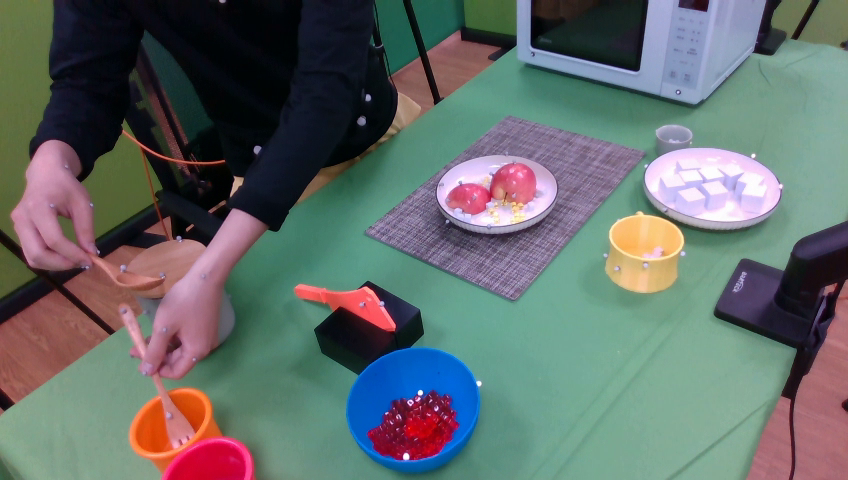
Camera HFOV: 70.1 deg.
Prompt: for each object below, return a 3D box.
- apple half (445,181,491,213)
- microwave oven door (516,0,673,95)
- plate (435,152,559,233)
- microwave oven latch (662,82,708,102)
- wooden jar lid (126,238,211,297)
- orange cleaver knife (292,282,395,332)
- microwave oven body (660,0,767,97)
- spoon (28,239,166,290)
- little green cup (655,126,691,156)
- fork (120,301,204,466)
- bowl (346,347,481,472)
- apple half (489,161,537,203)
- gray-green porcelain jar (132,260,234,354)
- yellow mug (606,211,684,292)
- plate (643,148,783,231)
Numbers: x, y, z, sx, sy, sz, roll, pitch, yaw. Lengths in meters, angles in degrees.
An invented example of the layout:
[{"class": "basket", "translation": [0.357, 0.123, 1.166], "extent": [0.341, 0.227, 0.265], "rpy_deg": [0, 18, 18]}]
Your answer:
[{"class": "apple half", "translation": [0.077, -0.083, 1.029], "extent": [0.081, 0.033, 0.081], "rpy_deg": [-2, 41, 2]}, {"class": "microwave oven door", "translation": [0.344, -0.458, 1.256], "extent": [0.353, 0.245, 0.039], "rpy_deg": [26, 51, 33]}, {"class": "plate", "translation": [0.123, -0.078, 1.026], "extent": [0.209, 0.038, 0.208], "rpy_deg": [-4, 40, 4]}, {"class": "microwave oven latch", "translation": [0.517, -0.298, 1.203], "extent": [0.078, 0.029, 0.030], "rpy_deg": [26, 52, 34]}, {"class": "wooden jar lid", "translation": [-0.334, 0.038, 0.794], "extent": [0.108, 0.021, 0.108], "rpy_deg": [-2, 40, 2]}, {"class": "orange cleaver knife", "translation": [-0.115, 0.091, 0.835], "extent": [0.209, 0.077, 0.012], "rpy_deg": [2, 32, 48]}, {"class": "microwave oven body", "translation": [0.474, -0.517, 1.313], "extent": [0.438, 0.261, 0.327], "rpy_deg": [26, 51, 34]}, {"class": "spoon", "translation": [-0.365, 0.023, 0.667], "extent": [0.193, 0.021, 0.042], "rpy_deg": [18, 15, 19]}, {"class": "little green cup", "translation": [0.450, -0.177, 1.100], "extent": [0.061, 0.039, 0.061], "rpy_deg": [-6, 40, 5]}, {"class": "fork", "translation": [-0.308, 0.165, 0.705], "extent": [0.028, 0.018, 0.207], "rpy_deg": [-26, 89, -13]}, {"class": "bowl", "translation": [-0.008, 0.205, 0.691], "extent": [0.151, 0.077, 0.150], "rpy_deg": [-4, 40, 4]}, {"class": "apple half", "translation": [0.154, -0.106, 1.030], "extent": [0.080, 0.053, 0.075], "rpy_deg": [22, 46, 31]}, {"class": "gray-green porcelain jar", "translation": [-0.328, 0.087, 0.836], "extent": [0.106, 0.127, 0.105], "rpy_deg": [-4, 41, 4]}, {"class": "yellow mug", "translation": [0.318, 0.008, 0.883], "extent": [0.100, 0.064, 0.130], "rpy_deg": [0, 41, 9]}, {"class": "plate", "translation": [0.464, -0.079, 0.986], "extent": [0.207, 0.039, 0.206], "rpy_deg": [-4, 41, 4]}]
